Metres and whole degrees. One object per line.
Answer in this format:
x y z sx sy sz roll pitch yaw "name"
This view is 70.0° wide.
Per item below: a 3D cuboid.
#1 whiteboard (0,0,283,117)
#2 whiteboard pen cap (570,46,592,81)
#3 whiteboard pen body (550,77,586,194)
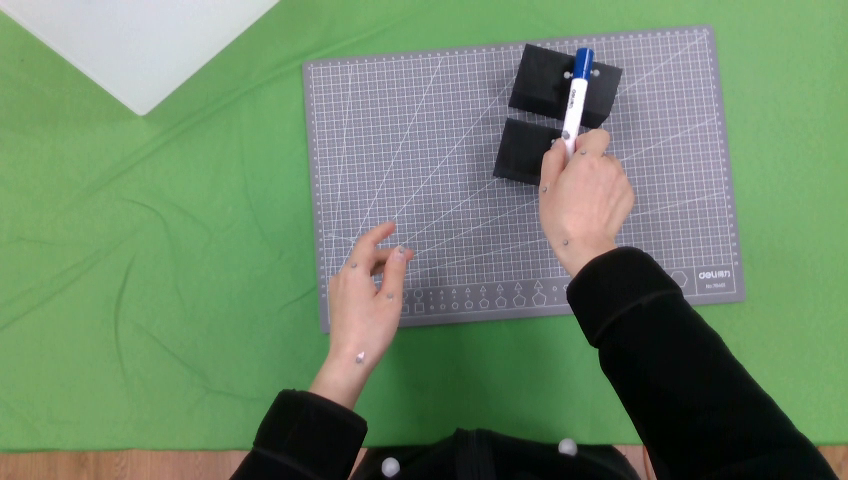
-0.309 -0.305 0.564 0.217 0.308 0.142 -40 65 -1 "whiteboard"
0.153 -0.170 0.592 0.018 0.018 0.033 12 84 3 "whiteboard pen cap"
0.141 -0.113 0.586 0.017 0.017 0.140 11 85 3 "whiteboard pen body"
